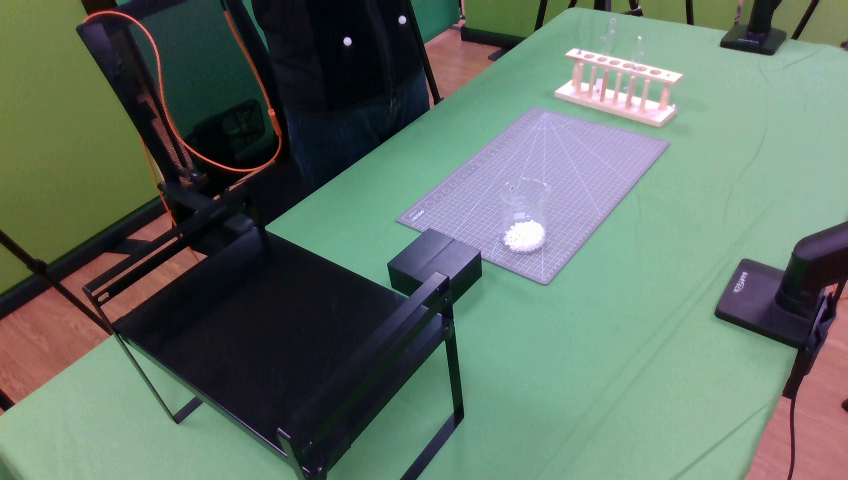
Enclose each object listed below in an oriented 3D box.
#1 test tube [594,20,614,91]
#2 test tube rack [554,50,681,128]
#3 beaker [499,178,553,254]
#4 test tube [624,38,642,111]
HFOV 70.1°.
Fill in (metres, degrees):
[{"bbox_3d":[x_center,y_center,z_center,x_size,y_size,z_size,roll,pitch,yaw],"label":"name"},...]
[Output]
[{"bbox_3d":[0.366,-0.372,1.233,0.017,0.151,0.017,-1,43,1],"label":"test tube"},{"bbox_3d":[0.387,-0.311,1.234,0.240,0.085,0.067,28,52,35],"label":"test tube rack"},{"bbox_3d":[0.157,-0.036,0.929,0.084,0.100,0.073,-16,41,-12],"label":"beaker"},{"bbox_3d":[0.404,-0.318,1.171,0.017,0.151,0.017,-4,42,4],"label":"test tube"}]
